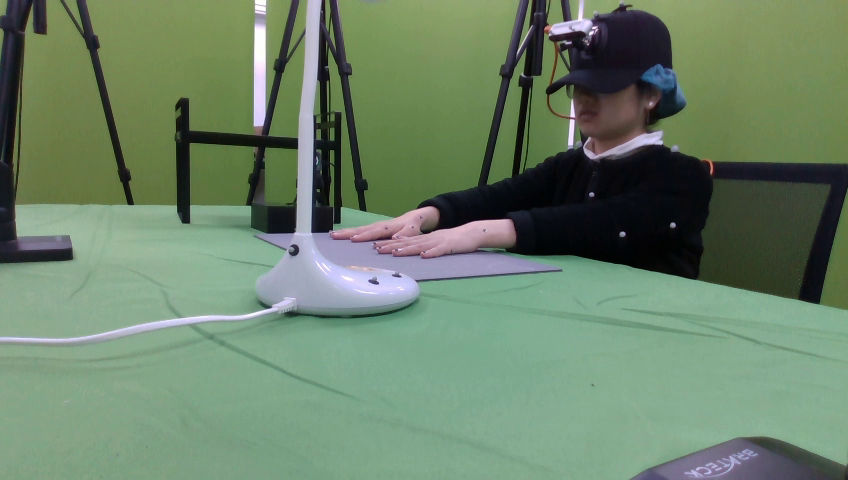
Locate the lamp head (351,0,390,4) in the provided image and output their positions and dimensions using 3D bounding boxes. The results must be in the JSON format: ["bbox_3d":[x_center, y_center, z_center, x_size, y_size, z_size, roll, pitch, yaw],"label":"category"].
[{"bbox_3d":[-0.053,-0.313,0.597,0.112,0.112,0.123,6,-28,25],"label":"lamp head"}]

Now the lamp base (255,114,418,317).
[{"bbox_3d":[-0.086,-0.027,0.577,0.160,0.180,0.179,4,10,16],"label":"lamp base"}]
